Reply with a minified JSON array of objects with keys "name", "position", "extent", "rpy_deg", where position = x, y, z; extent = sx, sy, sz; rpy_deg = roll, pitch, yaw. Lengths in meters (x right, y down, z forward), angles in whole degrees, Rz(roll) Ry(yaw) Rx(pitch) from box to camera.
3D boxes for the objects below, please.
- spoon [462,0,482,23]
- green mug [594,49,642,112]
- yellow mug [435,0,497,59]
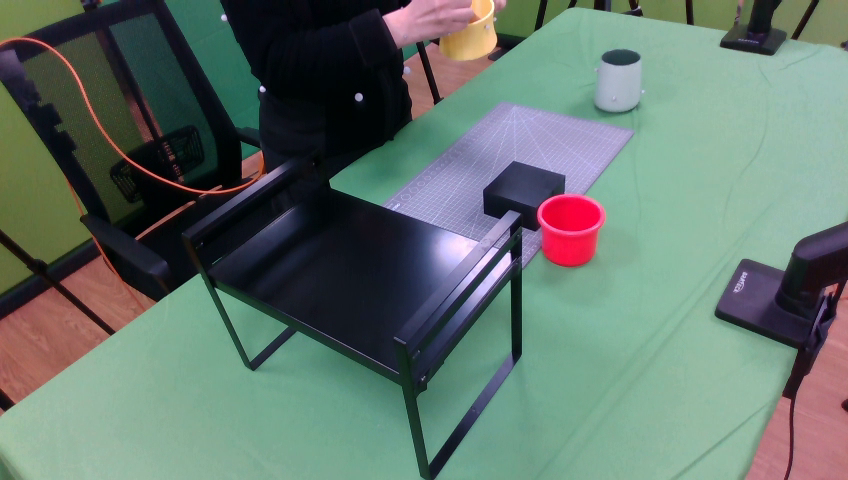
[{"name":"spoon","position":[0.066,-0.371,0.946],"extent":[0.041,0.195,0.021],"rpy_deg":[-32,65,6]},{"name":"green mug","position":[0.397,-0.333,1.240],"extent":[0.092,0.105,0.125],"rpy_deg":[-3,41,7]},{"name":"yellow mug","position":[0.078,-0.373,1.027],"extent":[0.099,0.064,0.131],"rpy_deg":[15,55,22]}]
